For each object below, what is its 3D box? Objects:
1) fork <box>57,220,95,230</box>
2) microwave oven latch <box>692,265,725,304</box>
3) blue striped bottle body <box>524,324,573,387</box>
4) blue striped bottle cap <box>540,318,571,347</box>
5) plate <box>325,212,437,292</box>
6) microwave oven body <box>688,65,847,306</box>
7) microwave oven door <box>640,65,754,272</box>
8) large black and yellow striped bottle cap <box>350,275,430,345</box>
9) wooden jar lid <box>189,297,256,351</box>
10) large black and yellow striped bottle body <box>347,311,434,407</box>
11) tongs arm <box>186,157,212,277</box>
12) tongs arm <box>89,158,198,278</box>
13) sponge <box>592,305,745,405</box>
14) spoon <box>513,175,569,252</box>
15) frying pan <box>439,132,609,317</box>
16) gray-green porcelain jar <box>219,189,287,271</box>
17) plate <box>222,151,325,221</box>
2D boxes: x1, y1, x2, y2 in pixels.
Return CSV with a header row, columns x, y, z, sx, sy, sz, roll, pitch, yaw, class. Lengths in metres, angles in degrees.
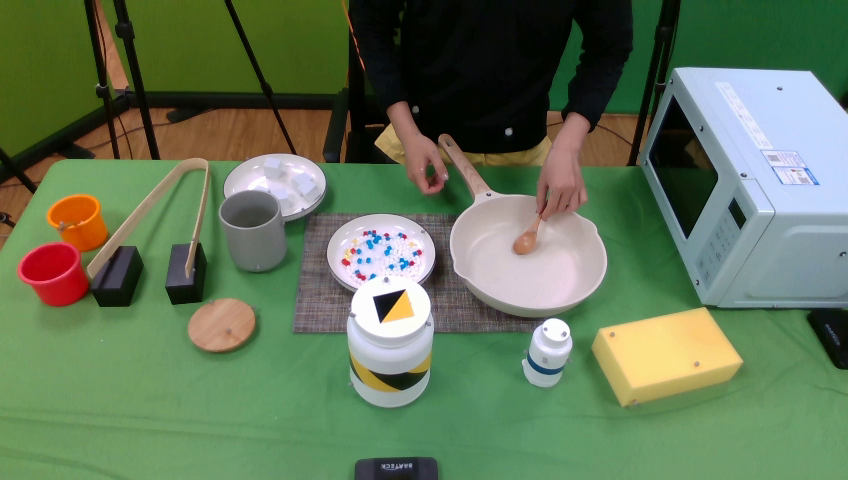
x,y,z,sx,sy,sz,roll,pitch,yaw,class
-0.624,-0.027,1.086,0.028,0.207,0.018,-3,92,-17,fork
0.522,0.081,1.116,0.030,0.029,0.078,1,46,-2,microwave oven latch
0.200,0.178,0.970,0.063,0.121,0.062,2,46,-2,blue striped bottle body
0.203,0.142,0.933,0.044,0.021,0.044,3,49,-4,blue striped bottle cap
-0.080,0.030,1.143,0.209,0.038,0.208,2,46,-2,plate
0.669,-0.111,1.176,0.326,0.261,0.439,0,46,-3,microwave oven body
0.524,-0.148,1.193,0.039,0.245,0.353,0,47,-3,microwave oven door
-0.048,0.097,0.868,0.115,0.019,0.114,3,48,-3,large black and yellow striped bottle cap
-0.342,0.145,1.033,0.108,0.021,0.107,2,45,-2,wooden jar lid
-0.052,0.157,0.929,0.131,0.185,0.130,2,47,-2,large black and yellow striped bottle body
-0.445,-0.058,1.168,0.051,0.026,0.382,-5,37,-6,tongs arm
-0.529,-0.057,1.164,0.028,0.028,0.385,1,36,8,tongs arm
0.405,0.190,1.014,0.207,0.061,0.117,-10,48,-12,sponge
0.237,-0.055,1.201,0.041,0.022,0.193,35,79,7,spoon
0.149,-0.049,1.189,0.307,0.103,0.484,-17,58,-20,frying pan
-0.310,-0.014,1.113,0.106,0.127,0.105,2,46,-2,gray-green porcelain jar
-0.310,-0.106,1.263,0.208,0.039,0.206,2,47,-2,plate
